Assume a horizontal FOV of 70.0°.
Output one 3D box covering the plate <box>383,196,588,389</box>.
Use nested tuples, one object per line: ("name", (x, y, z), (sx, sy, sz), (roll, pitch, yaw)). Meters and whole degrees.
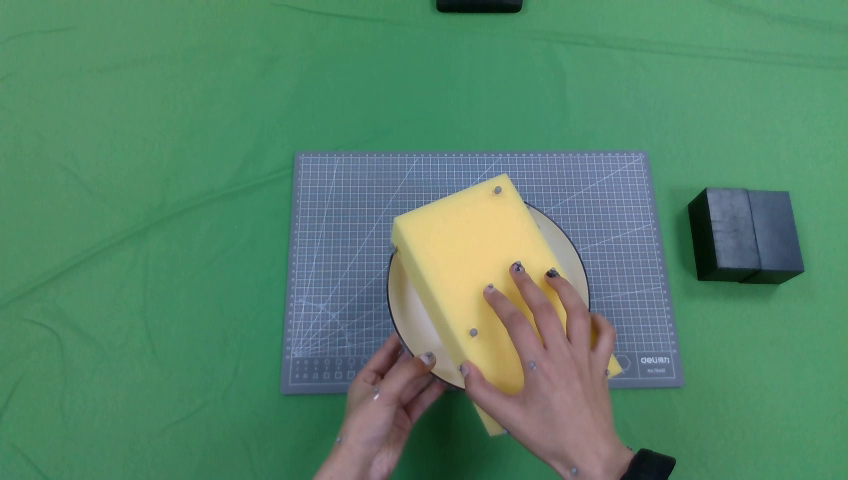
("plate", (0.061, 0.049, 0.612), (0.210, 0.038, 0.208), (3, 72, -10))

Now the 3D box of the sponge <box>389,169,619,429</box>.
("sponge", (0.066, 0.050, 0.553), (0.118, 0.061, 0.205), (-25, 74, -15))
